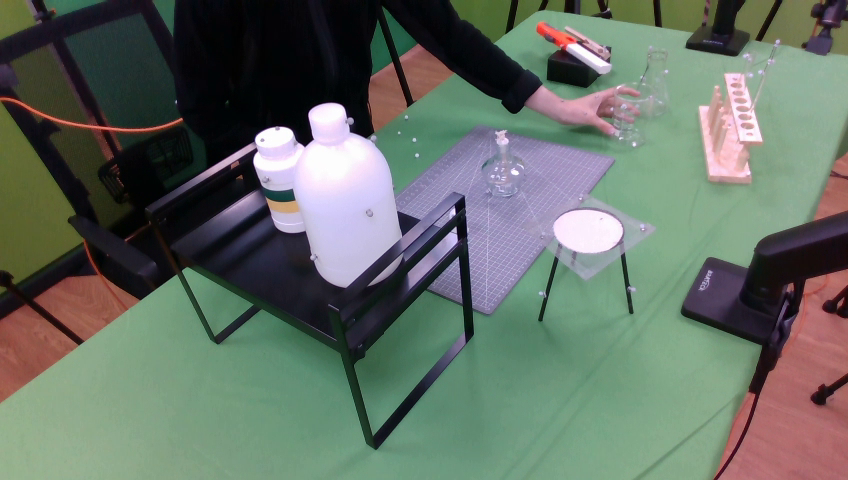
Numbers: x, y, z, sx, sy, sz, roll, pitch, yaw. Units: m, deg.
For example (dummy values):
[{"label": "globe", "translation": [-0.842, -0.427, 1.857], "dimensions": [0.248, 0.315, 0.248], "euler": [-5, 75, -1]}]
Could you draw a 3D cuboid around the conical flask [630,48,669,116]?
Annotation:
[{"label": "conical flask", "translation": [0.457, -0.317, 1.205], "dimensions": [0.075, 0.122, 0.075], "euler": [-4, 41, 4]}]

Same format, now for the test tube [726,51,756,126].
[{"label": "test tube", "translation": [0.568, -0.268, 1.085], "dimensions": [0.017, 0.151, 0.017], "euler": [-4, 46, 4]}]

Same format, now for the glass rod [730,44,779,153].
[{"label": "glass rod", "translation": [0.555, -0.233, 1.020], "dimensions": [0.008, 0.200, 0.008], "euler": [2, 40, -1]}]

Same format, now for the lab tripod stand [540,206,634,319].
[{"label": "lab tripod stand", "translation": [0.218, 0.034, 0.821], "dimensions": [0.148, 0.132, 0.147], "euler": [-4, 43, 4]}]

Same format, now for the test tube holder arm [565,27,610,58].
[{"label": "test tube holder arm", "translation": [0.369, -0.450, 1.373], "dimensions": [0.013, 0.015, 0.177], "euler": [-39, 41, 10]}]

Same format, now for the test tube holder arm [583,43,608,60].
[{"label": "test tube holder arm", "translation": [0.379, -0.420, 1.341], "dimensions": [0.010, 0.015, 0.087], "euler": [-39, 41, 10]}]

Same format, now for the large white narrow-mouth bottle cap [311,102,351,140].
[{"label": "large white narrow-mouth bottle cap", "translation": [-0.089, -0.114, 0.578], "dimensions": [0.038, 0.024, 0.037], "euler": [-4, 40, 3]}]

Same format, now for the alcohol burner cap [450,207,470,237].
[{"label": "alcohol burner cap", "translation": [0.057, -0.032, 0.987], "dimensions": [0.034, 0.048, 0.033], "euler": [-5, 41, 4]}]

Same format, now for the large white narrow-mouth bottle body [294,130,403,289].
[{"label": "large white narrow-mouth bottle body", "translation": [-0.082, -0.047, 0.634], "dimensions": [0.102, 0.195, 0.101], "euler": [-4, 40, 4]}]

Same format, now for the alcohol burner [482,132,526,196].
[{"label": "alcohol burner", "translation": [0.137, -0.136, 1.042], "dimensions": [0.078, 0.119, 0.077], "euler": [-4, 43, 4]}]

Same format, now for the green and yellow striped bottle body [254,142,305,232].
[{"label": "green and yellow striped bottle body", "translation": [-0.165, -0.073, 0.732], "dimensions": [0.063, 0.120, 0.063], "euler": [-4, 41, 4]}]

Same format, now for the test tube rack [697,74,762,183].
[{"label": "test tube rack", "translation": [0.547, -0.208, 1.094], "dimensions": [0.066, 0.085, 0.242], "euler": [5, 42, 15]}]

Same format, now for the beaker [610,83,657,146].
[{"label": "beaker", "translation": [0.388, -0.235, 1.138], "dimensions": [0.074, 0.101, 0.083], "euler": [-31, 45, -26]}]

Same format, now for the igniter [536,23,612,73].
[{"label": "igniter", "translation": [0.330, -0.439, 1.366], "dimensions": [0.057, 0.025, 0.274], "euler": [-12, 40, -20]}]

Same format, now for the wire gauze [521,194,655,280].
[{"label": "wire gauze", "translation": [0.207, -0.012, 0.772], "dimensions": [0.122, 0.011, 0.124], "euler": [-28, 44, -20]}]

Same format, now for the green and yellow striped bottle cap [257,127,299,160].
[{"label": "green and yellow striped bottle cap", "translation": [-0.169, -0.112, 0.699], "dimensions": [0.045, 0.020, 0.045], "euler": [-5, 40, 5]}]
